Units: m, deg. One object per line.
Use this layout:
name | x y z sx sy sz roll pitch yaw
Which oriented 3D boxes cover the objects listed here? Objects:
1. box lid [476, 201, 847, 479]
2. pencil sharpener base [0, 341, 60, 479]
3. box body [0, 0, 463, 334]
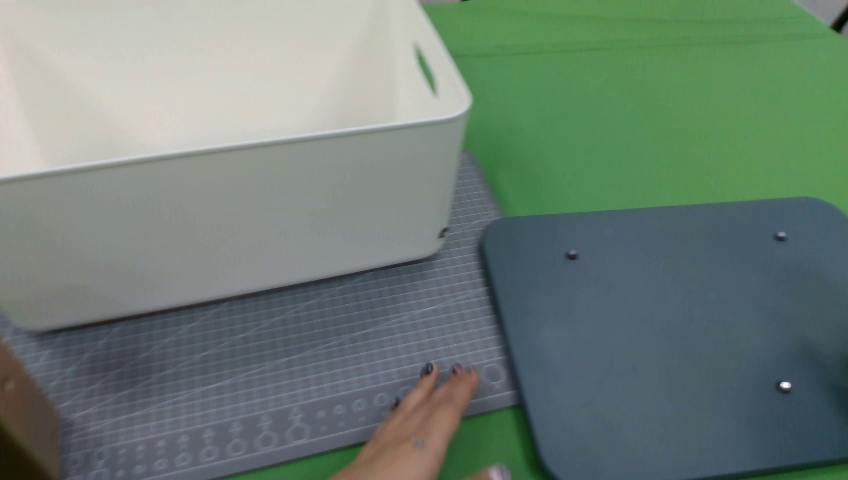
box lid | 0.241 0.067 0.504 0.372 0.015 0.260 -4 46 -8
pencil sharpener base | -0.276 0.113 0.356 0.077 0.108 0.060 -17 49 -18
box body | -0.175 -0.085 0.519 0.365 0.162 0.251 -11 47 -13
